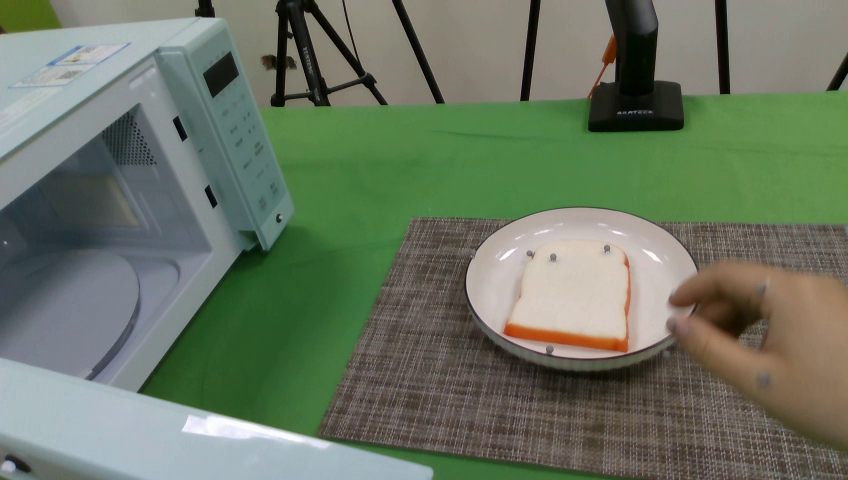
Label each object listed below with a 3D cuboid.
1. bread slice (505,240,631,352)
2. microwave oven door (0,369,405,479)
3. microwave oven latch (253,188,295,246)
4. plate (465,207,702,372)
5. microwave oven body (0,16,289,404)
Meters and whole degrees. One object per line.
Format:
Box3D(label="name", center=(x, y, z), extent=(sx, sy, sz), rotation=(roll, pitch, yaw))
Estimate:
Box3D(label="bread slice", center=(0.139, 0.046, 0.565), extent=(0.104, 0.019, 0.130), rotation=(4, 41, 19))
Box3D(label="microwave oven door", center=(-0.144, 0.152, 0.309), extent=(0.354, 0.246, 0.039), rotation=(6, 41, 21))
Box3D(label="microwave oven latch", center=(-0.180, -0.028, 0.716), extent=(0.030, 0.030, 0.078), rotation=(4, 41, 18))
Box3D(label="plate", center=(0.142, 0.044, 0.563), extent=(0.209, 0.038, 0.207), rotation=(-7, 38, 6))
Box3D(label="microwave oven body", center=(-0.383, 0.002, 0.571), extent=(0.325, 0.263, 0.438), rotation=(3, 41, 17))
